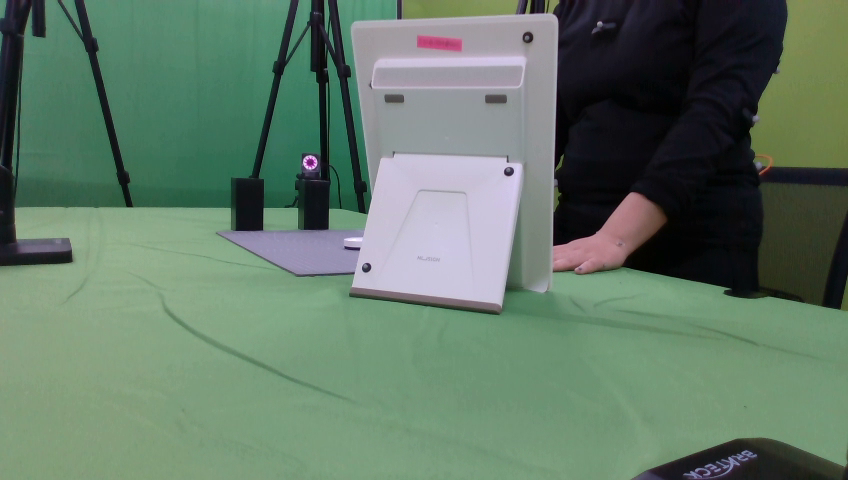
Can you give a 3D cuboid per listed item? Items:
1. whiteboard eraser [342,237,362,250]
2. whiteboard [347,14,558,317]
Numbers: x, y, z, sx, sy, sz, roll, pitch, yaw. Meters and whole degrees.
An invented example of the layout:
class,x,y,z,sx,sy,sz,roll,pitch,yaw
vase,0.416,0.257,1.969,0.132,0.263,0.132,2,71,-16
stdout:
class,x,y,z,sx,sy,sz,roll,pitch,yaw
whiteboard eraser,-0.082,0.004,0.968,0.102,0.019,0.041,0,7,-31
whiteboard,0.012,-0.056,0.609,0.216,0.305,0.144,5,27,20
